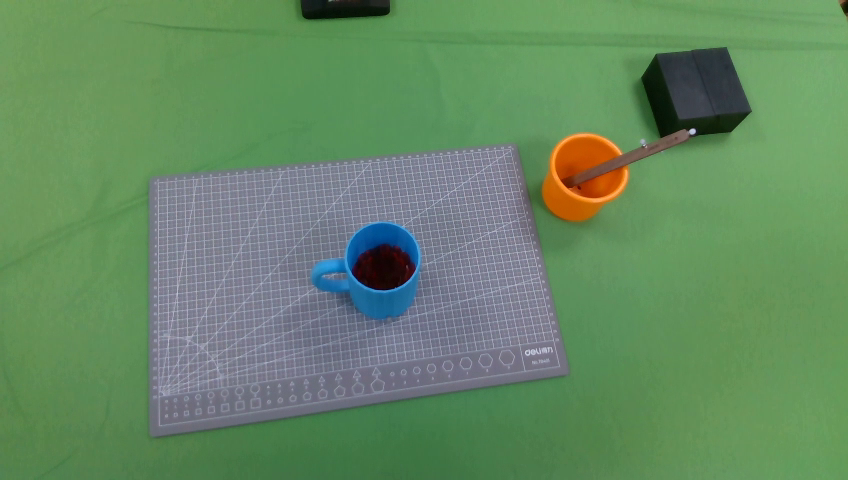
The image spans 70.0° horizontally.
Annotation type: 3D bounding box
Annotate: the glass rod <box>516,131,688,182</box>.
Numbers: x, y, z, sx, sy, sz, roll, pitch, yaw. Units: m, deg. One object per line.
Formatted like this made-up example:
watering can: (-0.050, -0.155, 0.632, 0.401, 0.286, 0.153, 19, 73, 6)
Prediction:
glass rod: (0.200, -0.095, 0.702, 0.199, 0.008, 0.008, -14, 66, 27)

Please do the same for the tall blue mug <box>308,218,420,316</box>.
tall blue mug: (-0.060, 0.039, 0.642, 0.107, 0.108, 0.077, -30, 75, -15)
